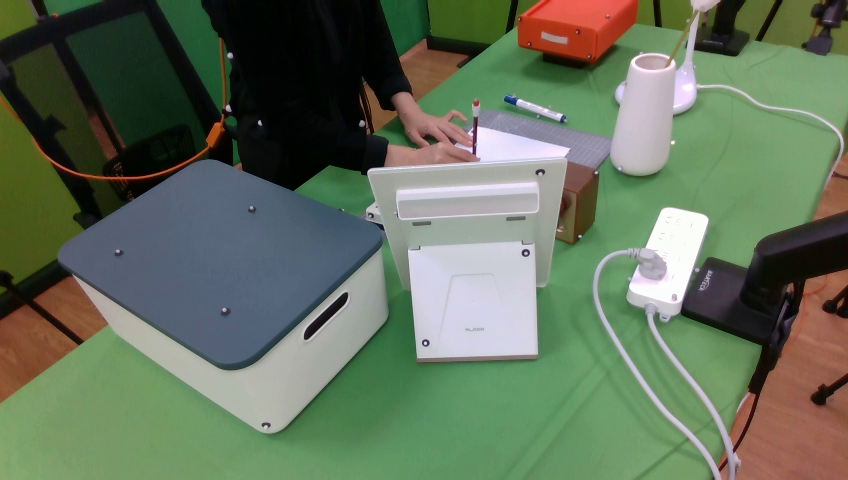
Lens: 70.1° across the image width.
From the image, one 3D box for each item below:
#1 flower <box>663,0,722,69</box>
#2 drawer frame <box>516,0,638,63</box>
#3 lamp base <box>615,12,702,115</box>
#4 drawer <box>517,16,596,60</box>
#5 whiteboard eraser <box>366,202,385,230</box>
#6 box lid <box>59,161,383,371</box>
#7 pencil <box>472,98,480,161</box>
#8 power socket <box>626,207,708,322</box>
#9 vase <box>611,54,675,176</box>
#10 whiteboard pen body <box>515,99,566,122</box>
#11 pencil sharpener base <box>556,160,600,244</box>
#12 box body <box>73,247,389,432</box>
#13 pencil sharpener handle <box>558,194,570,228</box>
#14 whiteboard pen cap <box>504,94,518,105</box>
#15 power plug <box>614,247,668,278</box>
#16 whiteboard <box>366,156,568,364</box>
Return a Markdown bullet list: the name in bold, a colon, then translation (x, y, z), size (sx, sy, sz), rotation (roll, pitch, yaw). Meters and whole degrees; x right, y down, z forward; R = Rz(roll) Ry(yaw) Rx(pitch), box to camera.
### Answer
- **flower**: translation (0.379, -0.261, 0.965), size (0.044, 0.362, 0.038), rotation (20, 53, 5)
- **drawer frame**: translation (0.355, -0.508, 1.411), size (0.200, 0.083, 0.214), rotation (23, 51, 32)
- **lamp base**: translation (0.484, -0.363, 1.211), size (0.180, 0.181, 0.159), rotation (-15, 41, -14)
- **drawer**: translation (0.352, -0.506, 1.405), size (0.193, 0.073, 0.212), rotation (23, 49, 32)
- **whiteboard eraser**: translation (-0.038, -0.038, 1.006), size (0.112, 0.042, 0.055), rotation (16, 47, 25)
- **box lid**: translation (-0.262, 0.010, 0.777), size (0.369, 0.015, 0.264), rotation (21, 48, 29)
- **pencil**: translation (0.084, -0.154, 1.005), size (0.012, 0.195, 0.012), rotation (-1, 49, 1)
- **power socket**: translation (0.359, 0.025, 0.886), size (0.072, 0.033, 0.227), rotation (16, 46, 26)
- **vase**: translation (0.377, -0.209, 1.031), size (0.098, 0.201, 0.097), rotation (-3, 40, 3)
- **whiteboard pen body**: translation (0.234, -0.274, 1.262), size (0.139, 0.017, 0.017), rotation (28, 51, 29)
- **pencil sharpener base**: translation (0.228, -0.057, 0.945), size (0.061, 0.107, 0.077), rotation (24, 50, 31)
- **box body**: translation (-0.255, 0.065, 0.827), size (0.361, 0.161, 0.255), rotation (21, 48, 29)
- **pencil sharpener handle**: translation (0.195, -0.038, 0.908), size (0.035, 0.068, 0.031), rotation (24, 50, 30)
- **whiteboard pen cap**: translation (0.190, -0.299, 1.292), size (0.033, 0.018, 0.018), rotation (30, 52, 28)
- **power plug**: translation (0.306, 0.031, 0.851), size (0.072, 0.053, 0.035), rotation (24, 49, 33)
- **whiteboard**: translation (0.059, 0.050, 0.738), size (0.217, 0.307, 0.143), rotation (-2, 60, 6)
